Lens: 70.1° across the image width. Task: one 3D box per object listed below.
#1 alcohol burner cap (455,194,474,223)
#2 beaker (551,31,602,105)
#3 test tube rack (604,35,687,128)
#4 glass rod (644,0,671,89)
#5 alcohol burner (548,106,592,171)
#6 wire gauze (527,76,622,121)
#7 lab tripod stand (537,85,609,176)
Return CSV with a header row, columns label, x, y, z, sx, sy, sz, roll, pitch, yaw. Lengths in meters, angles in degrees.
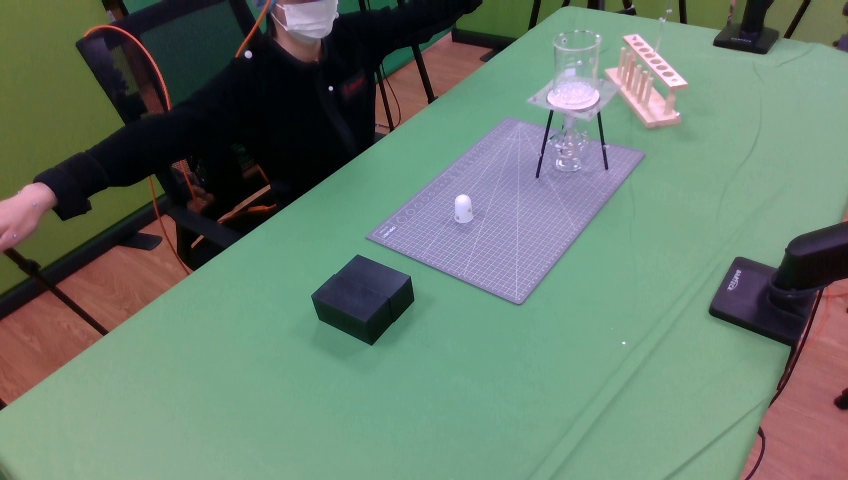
label,x,y,z,sx,sy,sz,roll,pitch,yaw
alcohol burner cap,0.066,-0.054,1.006,0.034,0.048,0.033,-5,40,4
beaker,0.252,-0.283,0.997,0.084,0.101,0.073,-16,42,-7
test tube rack,0.447,-0.330,1.241,0.067,0.085,0.241,-9,41,-2
glass rod,0.463,-0.387,1.204,0.008,0.200,0.008,0,47,1
alcohol burner,0.258,-0.183,1.072,0.078,0.119,0.077,-6,41,6
wire gauze,0.255,-0.247,1.030,0.124,0.011,0.122,23,49,34
lab tripod stand,0.259,-0.192,1.068,0.148,0.132,0.147,-4,43,4
